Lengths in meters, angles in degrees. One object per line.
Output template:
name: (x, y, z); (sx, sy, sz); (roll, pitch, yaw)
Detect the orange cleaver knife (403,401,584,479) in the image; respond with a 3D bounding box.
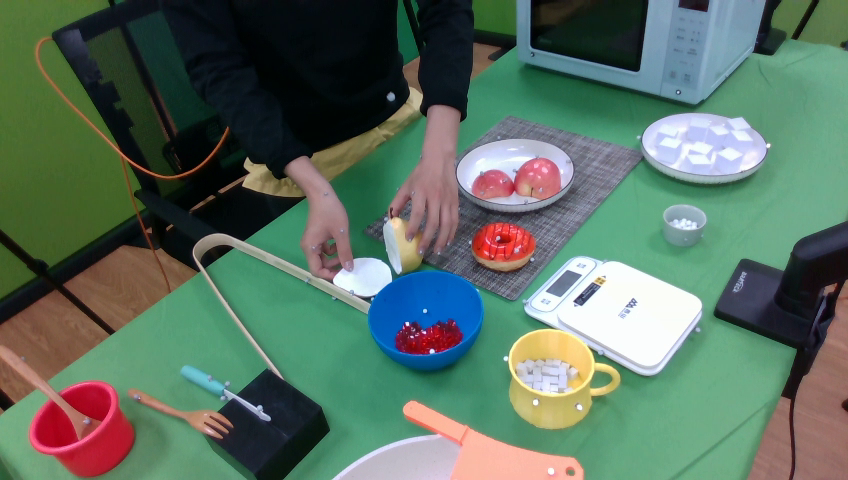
orange cleaver knife: (0.062, 0.222, 0.609); (0.210, 0.012, 0.077); (15, 49, 25)

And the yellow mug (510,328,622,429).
yellow mug: (0.168, 0.164, 0.721); (0.130, 0.064, 0.099); (0, 40, 8)

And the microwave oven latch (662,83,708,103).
microwave oven latch: (0.517, -0.296, 1.204); (0.078, 0.029, 0.030); (27, 52, 35)

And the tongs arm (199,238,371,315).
tongs arm: (-0.209, 0.063, 0.923); (0.382, 0.027, 0.051); (22, 53, 32)

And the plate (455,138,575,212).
plate: (0.159, -0.111, 1.063); (0.209, 0.038, 0.208); (-4, 40, 4)

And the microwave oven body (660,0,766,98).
microwave oven body: (0.472, -0.513, 1.317); (0.438, 0.261, 0.327); (26, 51, 34)

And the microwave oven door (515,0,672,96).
microwave oven door: (0.343, -0.455, 1.259); (0.353, 0.245, 0.039); (26, 51, 33)

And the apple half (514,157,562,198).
apple half: (0.196, -0.113, 1.032); (0.080, 0.053, 0.075); (16, 43, 30)

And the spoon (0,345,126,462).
spoon: (-0.434, 0.192, 0.720); (0.194, 0.021, 0.042); (47, 53, -7)

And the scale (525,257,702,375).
scale: (0.254, 0.091, 0.821); (0.199, 0.032, 0.149); (27, 51, 35)

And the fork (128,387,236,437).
fork: (-0.305, 0.208, 0.744); (0.206, 0.019, 0.028); (3, 41, 36)

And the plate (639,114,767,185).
plate: (0.489, -0.157, 1.074); (0.207, 0.039, 0.206); (-4, 40, 4)

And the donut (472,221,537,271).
donut: (0.123, 0.008, 0.923); (0.099, 0.048, 0.098); (-3, 38, 3)

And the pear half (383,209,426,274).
pear half: (-0.029, -0.007, 0.891); (0.056, 0.110, 0.075); (-27, 46, -17)

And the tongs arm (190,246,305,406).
tongs arm: (-0.268, 0.112, 0.882); (0.028, 0.028, 0.384); (-36, 47, -18)

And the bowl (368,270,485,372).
bowl: (0.007, 0.118, 0.791); (0.151, 0.077, 0.150); (-5, 40, 4)

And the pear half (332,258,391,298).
pear half: (-0.094, 0.062, 0.906); (0.088, 0.031, 0.070); (-10, 47, -17)

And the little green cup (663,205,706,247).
little green cup: (0.396, -0.020, 0.926); (0.061, 0.039, 0.061); (-4, 40, 4)

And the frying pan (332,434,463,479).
frying pan: (-0.089, 0.306, 0.564); (0.487, 0.103, 0.306); (10, 41, 7)

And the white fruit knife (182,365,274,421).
white fruit knife: (-0.245, 0.188, 0.747); (0.205, 0.027, 0.016); (9, 42, 41)

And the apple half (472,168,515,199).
apple half: (0.119, -0.106, 1.056); (0.081, 0.033, 0.081); (-3, 40, 3)
